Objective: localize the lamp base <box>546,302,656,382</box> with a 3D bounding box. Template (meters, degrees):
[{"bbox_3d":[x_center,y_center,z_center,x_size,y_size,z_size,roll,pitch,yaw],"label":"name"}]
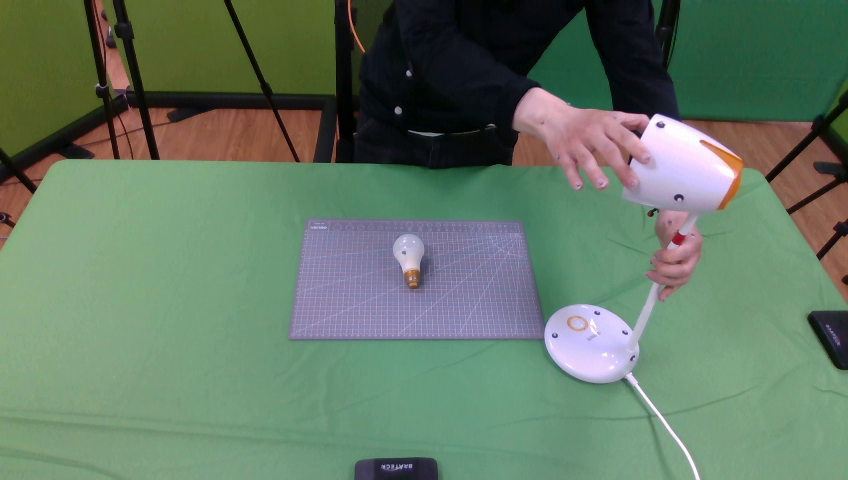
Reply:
[{"bbox_3d":[0.303,0.127,0.982,0.160,0.181,0.178,-34,59,-29],"label":"lamp base"}]

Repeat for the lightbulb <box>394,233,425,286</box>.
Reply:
[{"bbox_3d":[-0.024,0.037,1.134,0.059,0.060,0.107,-4,63,-7],"label":"lightbulb"}]

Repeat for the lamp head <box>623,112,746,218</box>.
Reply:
[{"bbox_3d":[0.314,-0.080,0.727,0.122,0.113,0.112,27,51,18],"label":"lamp head"}]
